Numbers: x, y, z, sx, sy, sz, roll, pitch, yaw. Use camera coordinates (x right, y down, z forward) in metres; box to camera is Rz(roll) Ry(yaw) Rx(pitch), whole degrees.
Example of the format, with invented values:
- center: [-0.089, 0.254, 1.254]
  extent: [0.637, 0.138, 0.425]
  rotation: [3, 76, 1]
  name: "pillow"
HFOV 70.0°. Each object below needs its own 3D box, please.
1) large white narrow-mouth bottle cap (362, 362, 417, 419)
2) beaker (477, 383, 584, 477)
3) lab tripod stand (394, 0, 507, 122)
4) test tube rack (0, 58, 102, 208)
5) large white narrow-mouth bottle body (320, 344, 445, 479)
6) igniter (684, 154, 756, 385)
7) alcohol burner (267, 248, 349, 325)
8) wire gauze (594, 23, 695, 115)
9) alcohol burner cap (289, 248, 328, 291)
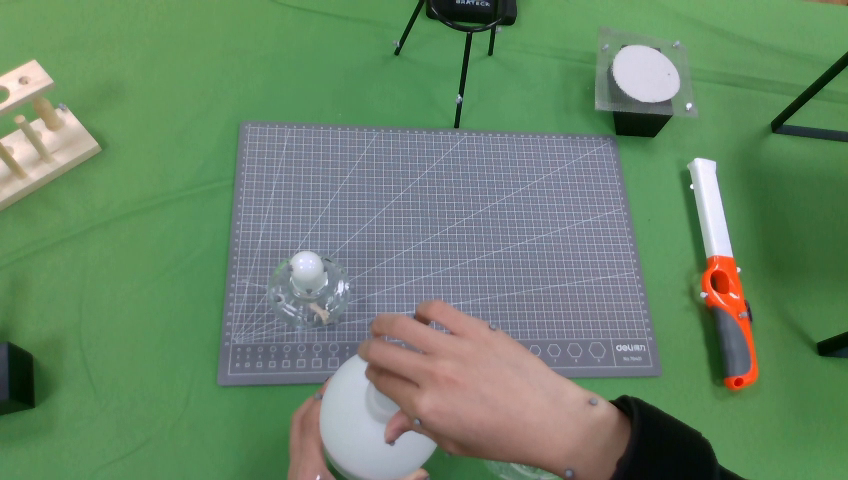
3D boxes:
- center: [-0.024, 0.103, 0.417]
  extent: [0.038, 0.024, 0.037]
  rotation: [3, 66, -6]
  name: "large white narrow-mouth bottle cap"
- center: [0.088, 0.176, 0.549]
  extent: [0.084, 0.101, 0.073]
  rotation: [6, 65, -4]
  name: "beaker"
- center: [0.038, -0.233, 0.698]
  extent: [0.149, 0.132, 0.147]
  rotation: [4, 67, -8]
  name: "lab tripod stand"
- center: [-0.452, -0.068, 0.580]
  extent: [0.242, 0.085, 0.066]
  rotation: [-39, 77, -21]
  name: "test tube rack"
- center: [-0.035, 0.140, 0.494]
  extent: [0.102, 0.195, 0.101]
  rotation: [3, 66, -6]
  name: "large white narrow-mouth bottle body"
- center: [0.334, 0.026, 0.688]
  extent: [0.057, 0.025, 0.274]
  rotation: [7, 66, -16]
  name: "igniter"
- center: [-0.108, 0.038, 0.568]
  extent: [0.078, 0.119, 0.077]
  rotation: [4, 65, -8]
  name: "alcohol burner"
- center: [0.264, -0.206, 0.734]
  extent: [0.121, 0.011, 0.124]
  rotation: [8, 66, -5]
  name: "wire gauze"
- center: [-0.104, 0.025, 0.534]
  extent: [0.034, 0.048, 0.033]
  rotation: [1, 71, -4]
  name: "alcohol burner cap"
